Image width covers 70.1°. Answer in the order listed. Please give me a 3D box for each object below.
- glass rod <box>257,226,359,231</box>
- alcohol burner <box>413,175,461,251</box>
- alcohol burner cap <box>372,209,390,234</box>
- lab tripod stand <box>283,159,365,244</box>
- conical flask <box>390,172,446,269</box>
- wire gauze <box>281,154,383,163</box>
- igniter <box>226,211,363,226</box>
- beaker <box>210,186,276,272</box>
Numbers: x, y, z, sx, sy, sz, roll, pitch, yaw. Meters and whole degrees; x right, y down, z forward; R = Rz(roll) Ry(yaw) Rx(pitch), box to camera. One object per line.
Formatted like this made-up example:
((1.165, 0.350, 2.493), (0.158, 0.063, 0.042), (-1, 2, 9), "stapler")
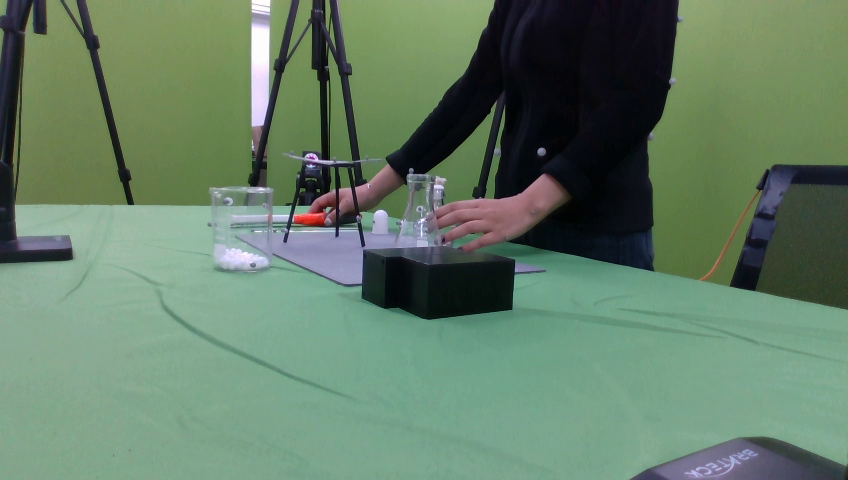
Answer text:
((-0.216, -0.022, 1.152), (0.201, 0.008, 0.008), (-2, 8, -28), "glass rod")
((0.021, -0.043, 0.957), (0.078, 0.119, 0.078), (1, 6, 0), "alcohol burner")
((-0.082, -0.035, 1.143), (0.034, 0.048, 0.034), (1, 5, 0), "alcohol burner cap")
((-0.151, -0.063, 0.983), (0.148, 0.131, 0.148), (4, 7, 0), "lab tripod stand")
((-0.006, -0.027, 0.790), (0.075, 0.122, 0.075), (2, 7, 0), "conical flask")
((-0.146, -0.130, 0.977), (0.124, 0.011, 0.122), (9, 10, 41), "wire gauze")
((-0.255, -0.044, 1.220), (0.278, 0.025, 0.057), (-3, -5, -31), "igniter")
((-0.224, -0.014, 0.738), (0.084, 0.100, 0.074), (4, 7, 16), "beaker")
